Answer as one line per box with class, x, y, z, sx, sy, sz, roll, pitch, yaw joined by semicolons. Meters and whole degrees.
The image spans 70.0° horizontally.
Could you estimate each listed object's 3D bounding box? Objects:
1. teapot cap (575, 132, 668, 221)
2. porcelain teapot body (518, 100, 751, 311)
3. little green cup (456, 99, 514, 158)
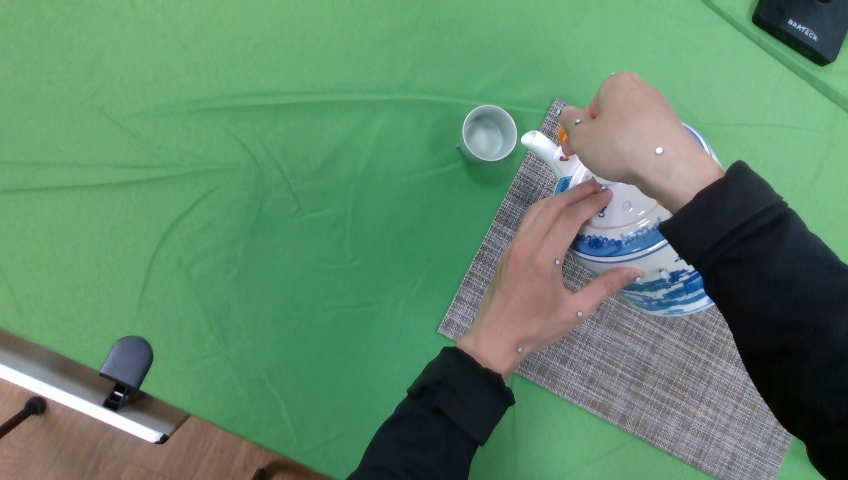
teapot cap;0.162;-0.056;0.508;0.044;0.084;0.085;35;80;-37
porcelain teapot body;0.170;-0.048;0.557;0.228;0.203;0.145;34;92;-40
little green cup;0.064;-0.119;0.664;0.062;0.038;0.061;1;86;-10
